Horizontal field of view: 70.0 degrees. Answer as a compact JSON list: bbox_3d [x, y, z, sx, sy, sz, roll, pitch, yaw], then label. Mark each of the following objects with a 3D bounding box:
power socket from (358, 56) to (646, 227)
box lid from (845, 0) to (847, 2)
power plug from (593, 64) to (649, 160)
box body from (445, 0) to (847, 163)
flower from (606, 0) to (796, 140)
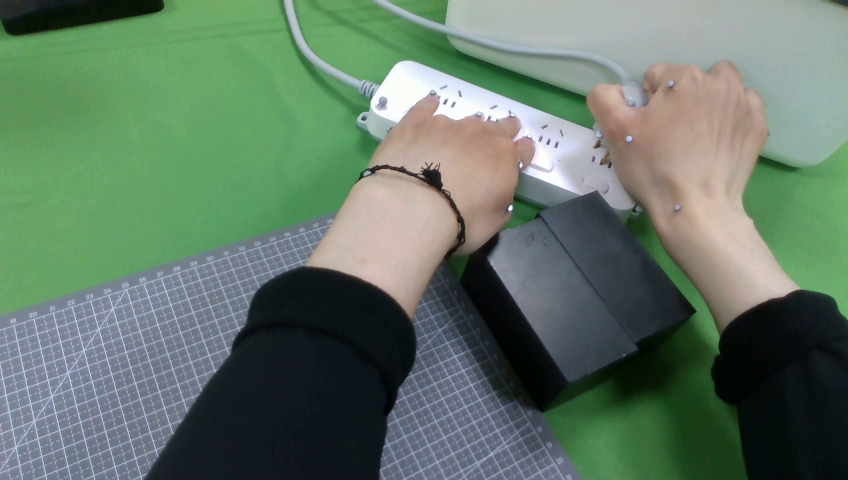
[{"bbox_3d":[0.063,-0.077,0.463,0.226,0.033,0.072,23,55,5],"label":"power socket"},{"bbox_3d":[0.233,-0.284,0.467,0.371,0.015,0.261,20,55,3],"label":"box lid"},{"bbox_3d":[0.149,-0.091,0.450,0.035,0.053,0.072,33,46,8],"label":"power plug"},{"bbox_3d":[0.220,-0.244,0.527,0.364,0.161,0.252,20,55,3],"label":"box body"},{"bbox_3d":[0.211,-0.214,0.592,0.360,0.038,0.044,43,82,11],"label":"flower"}]
